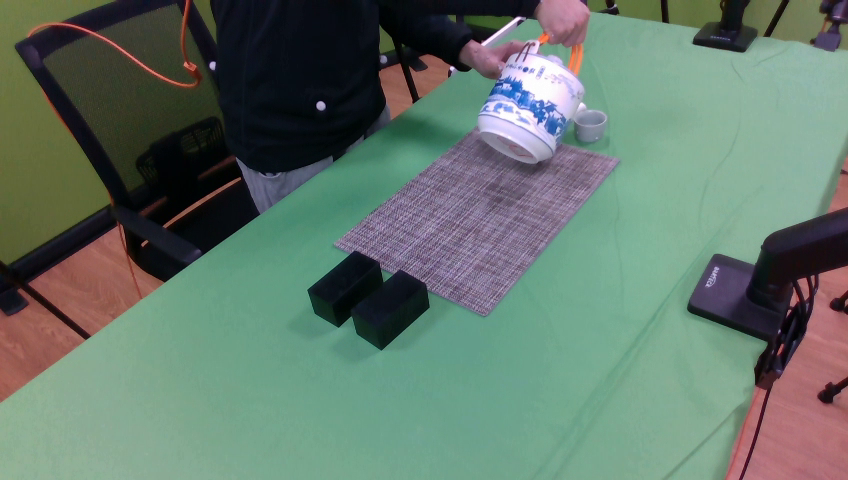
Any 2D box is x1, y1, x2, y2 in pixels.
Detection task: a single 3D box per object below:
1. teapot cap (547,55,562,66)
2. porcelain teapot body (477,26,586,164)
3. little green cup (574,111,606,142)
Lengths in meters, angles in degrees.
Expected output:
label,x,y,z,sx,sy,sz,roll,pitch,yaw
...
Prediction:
label,x,y,z,sx,sy,sz,roll,pitch,yaw
teapot cap,0.215,-0.289,1.029,0.084,0.086,0.044,26,83,33
porcelain teapot body,0.213,-0.244,1.051,0.144,0.207,0.225,25,85,44
little green cup,0.318,-0.218,1.164,0.061,0.039,0.061,-3,41,3
